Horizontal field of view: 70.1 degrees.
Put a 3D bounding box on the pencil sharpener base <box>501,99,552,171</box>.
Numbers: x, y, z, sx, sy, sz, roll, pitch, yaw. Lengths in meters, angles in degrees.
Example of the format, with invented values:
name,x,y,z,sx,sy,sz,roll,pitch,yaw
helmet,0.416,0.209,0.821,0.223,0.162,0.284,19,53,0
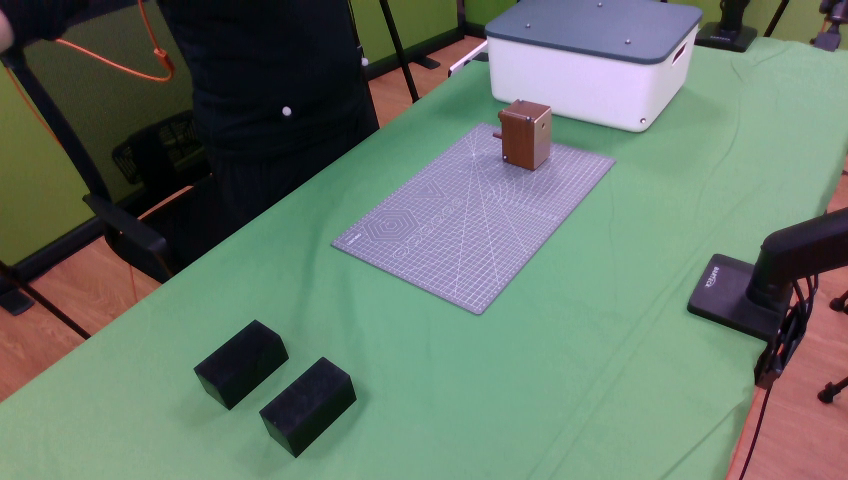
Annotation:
name,x,y,z,sx,sy,sz,roll,pitch,yaw
pencil sharpener base,0.184,-0.191,1.097,0.076,0.107,0.061,23,49,32

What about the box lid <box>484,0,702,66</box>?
name,x,y,z,sx,sy,sz,roll,pitch,yaw
box lid,0.333,-0.428,1.202,0.368,0.015,0.264,21,48,30

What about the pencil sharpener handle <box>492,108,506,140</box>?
name,x,y,z,sx,sy,sz,roll,pitch,yaw
pencil sharpener handle,0.141,-0.216,1.114,0.030,0.068,0.036,23,41,32

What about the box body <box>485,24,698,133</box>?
name,x,y,z,sx,sy,sz,roll,pitch,yaw
box body,0.340,-0.373,1.251,0.361,0.161,0.255,21,48,30
